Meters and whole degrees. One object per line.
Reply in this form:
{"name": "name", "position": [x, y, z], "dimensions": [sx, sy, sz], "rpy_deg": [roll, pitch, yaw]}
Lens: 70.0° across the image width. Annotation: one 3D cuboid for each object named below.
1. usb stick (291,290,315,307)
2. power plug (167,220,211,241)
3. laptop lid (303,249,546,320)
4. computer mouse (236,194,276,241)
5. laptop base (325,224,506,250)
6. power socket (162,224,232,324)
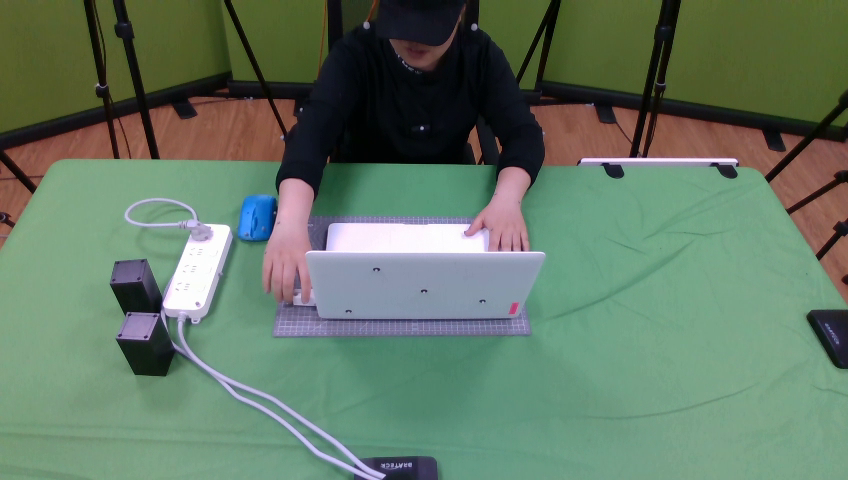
{"name": "usb stick", "position": [-0.203, 0.103, 1.066], "dimensions": [0.059, 0.027, 0.021], "rpy_deg": [5, 46, -4]}
{"name": "power plug", "position": [-0.438, -0.017, 1.143], "dimensions": [0.072, 0.053, 0.035], "rpy_deg": [10, 44, 6]}
{"name": "laptop lid", "position": [-0.003, 0.077, 0.962], "dimensions": [0.357, 0.242, 0.013], "rpy_deg": [1, 58, -5]}
{"name": "computer mouse", "position": [-0.334, -0.048, 1.206], "dimensions": [0.063, 0.041, 0.116], "rpy_deg": [2, 51, -4]}
{"name": "laptop base", "position": [-0.014, 0.055, 1.144], "dimensions": [0.355, 0.023, 0.234], "rpy_deg": [0, 42, -4]}
{"name": "power socket", "position": [-0.411, 0.052, 1.106], "dimensions": [0.072, 0.033, 0.225], "rpy_deg": [4, 45, -1]}
